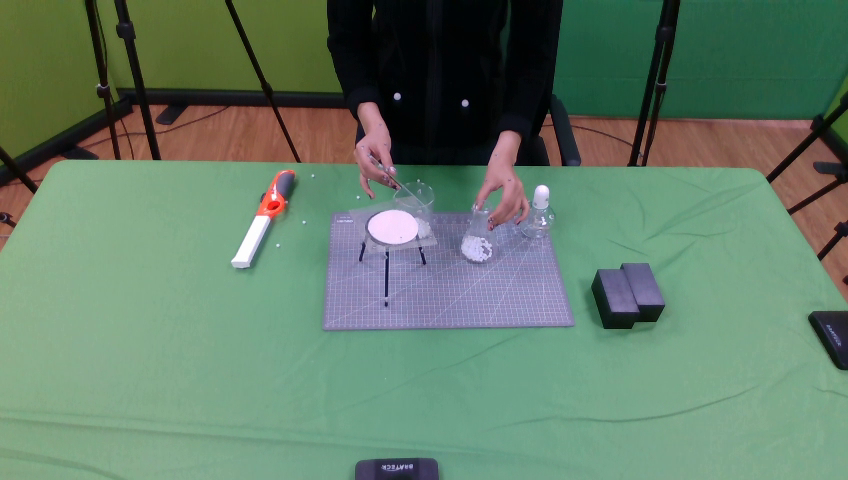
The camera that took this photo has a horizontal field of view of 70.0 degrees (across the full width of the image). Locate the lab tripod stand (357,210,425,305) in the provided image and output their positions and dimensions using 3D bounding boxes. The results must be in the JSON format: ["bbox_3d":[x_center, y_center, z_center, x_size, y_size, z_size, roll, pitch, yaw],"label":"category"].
[{"bbox_3d":[-0.060,0.020,1.094,0.148,0.132,0.147,3,44,-2],"label":"lab tripod stand"}]

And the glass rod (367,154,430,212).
[{"bbox_3d":[-0.043,-0.103,1.133,0.008,0.201,0.008,-19,52,27],"label":"glass rod"}]

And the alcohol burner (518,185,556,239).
[{"bbox_3d":[0.228,-0.061,1.209,0.078,0.120,0.077,1,44,-1],"label":"alcohol burner"}]

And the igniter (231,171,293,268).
[{"bbox_3d":[-0.321,-0.051,1.220,0.057,0.025,0.275,2,45,11],"label":"igniter"}]

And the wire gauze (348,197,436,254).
[{"bbox_3d":[-0.056,-0.026,1.045,0.125,0.011,0.120,-11,46,-17],"label":"wire gauze"}]

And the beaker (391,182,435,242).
[{"bbox_3d":[-0.023,-0.053,1.192,0.084,0.101,0.073,-2,46,-5],"label":"beaker"}]

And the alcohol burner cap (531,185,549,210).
[{"bbox_3d":[0.228,-0.085,1.183,0.034,0.048,0.033,-1,48,1],"label":"alcohol burner cap"}]

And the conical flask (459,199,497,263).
[{"bbox_3d":[0.106,-0.020,1.153,0.075,0.122,0.075,0,45,0],"label":"conical flask"}]
